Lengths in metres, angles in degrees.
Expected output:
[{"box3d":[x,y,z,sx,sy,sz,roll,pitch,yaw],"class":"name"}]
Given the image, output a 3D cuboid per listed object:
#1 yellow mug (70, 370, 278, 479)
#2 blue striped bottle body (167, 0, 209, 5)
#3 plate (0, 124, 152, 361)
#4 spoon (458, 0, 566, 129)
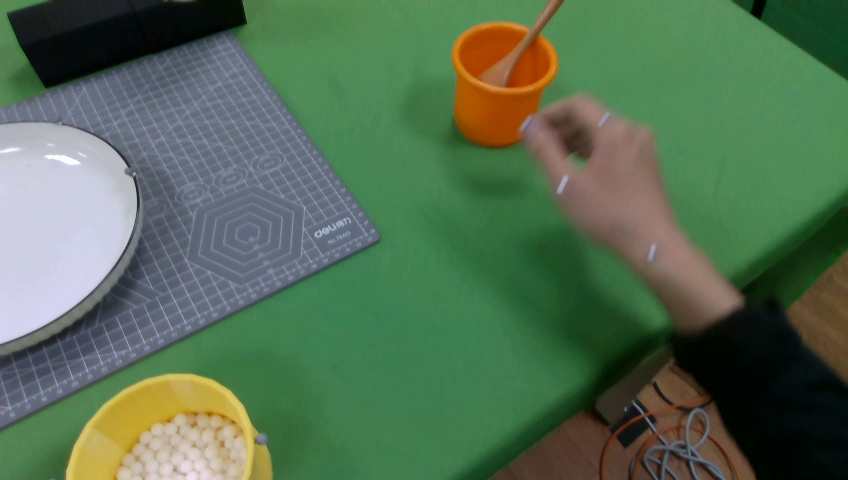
[{"box3d":[-0.157,0.140,0.355,0.131,0.064,0.099,-19,59,-14],"class":"yellow mug"},{"box3d":[-0.223,-0.278,0.536,0.063,0.122,0.062,1,56,-2],"class":"blue striped bottle body"},{"box3d":[-0.308,0.000,0.452,0.208,0.039,0.205,2,56,-2],"class":"plate"},{"box3d":[0.093,-0.180,0.530,0.041,0.022,0.194,45,104,25],"class":"spoon"}]
